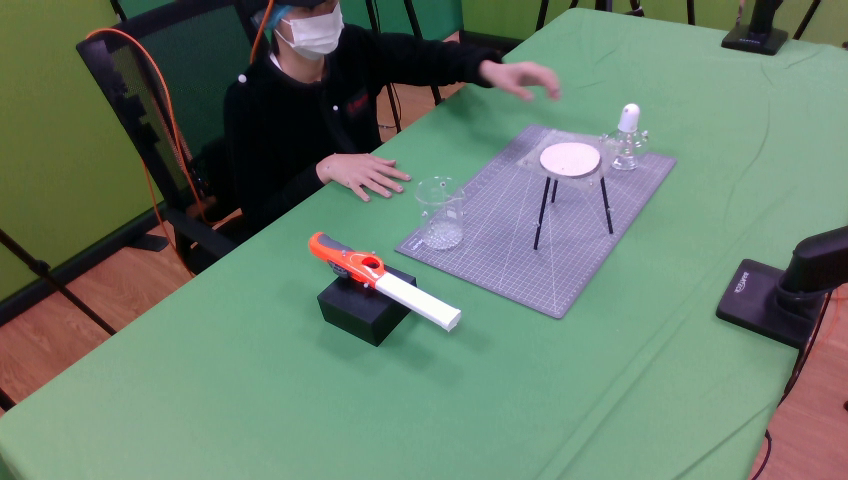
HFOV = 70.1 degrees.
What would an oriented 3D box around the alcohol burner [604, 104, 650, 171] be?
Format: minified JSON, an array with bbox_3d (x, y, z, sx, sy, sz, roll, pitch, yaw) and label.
[{"bbox_3d":[0.357,-0.182,1.060,0.078,0.119,0.077,-6,39,6],"label":"alcohol burner"}]

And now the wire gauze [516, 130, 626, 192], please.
[{"bbox_3d":[0.216,-0.124,0.892,0.124,0.011,0.122,22,49,31],"label":"wire gauze"}]

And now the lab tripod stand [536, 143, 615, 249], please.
[{"bbox_3d":[0.224,-0.069,0.931,0.148,0.132,0.147,-4,42,4],"label":"lab tripod stand"}]

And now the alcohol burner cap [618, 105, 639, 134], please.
[{"bbox_3d":[0.353,-0.208,1.036,0.034,0.048,0.033,-2,46,3],"label":"alcohol burner cap"}]

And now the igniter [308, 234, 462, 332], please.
[{"bbox_3d":[-0.066,0.053,0.846,0.274,0.025,0.057,26,49,30],"label":"igniter"}]

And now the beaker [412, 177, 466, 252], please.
[{"bbox_3d":[0.029,-0.038,0.952,0.083,0.101,0.074,9,43,18],"label":"beaker"}]
